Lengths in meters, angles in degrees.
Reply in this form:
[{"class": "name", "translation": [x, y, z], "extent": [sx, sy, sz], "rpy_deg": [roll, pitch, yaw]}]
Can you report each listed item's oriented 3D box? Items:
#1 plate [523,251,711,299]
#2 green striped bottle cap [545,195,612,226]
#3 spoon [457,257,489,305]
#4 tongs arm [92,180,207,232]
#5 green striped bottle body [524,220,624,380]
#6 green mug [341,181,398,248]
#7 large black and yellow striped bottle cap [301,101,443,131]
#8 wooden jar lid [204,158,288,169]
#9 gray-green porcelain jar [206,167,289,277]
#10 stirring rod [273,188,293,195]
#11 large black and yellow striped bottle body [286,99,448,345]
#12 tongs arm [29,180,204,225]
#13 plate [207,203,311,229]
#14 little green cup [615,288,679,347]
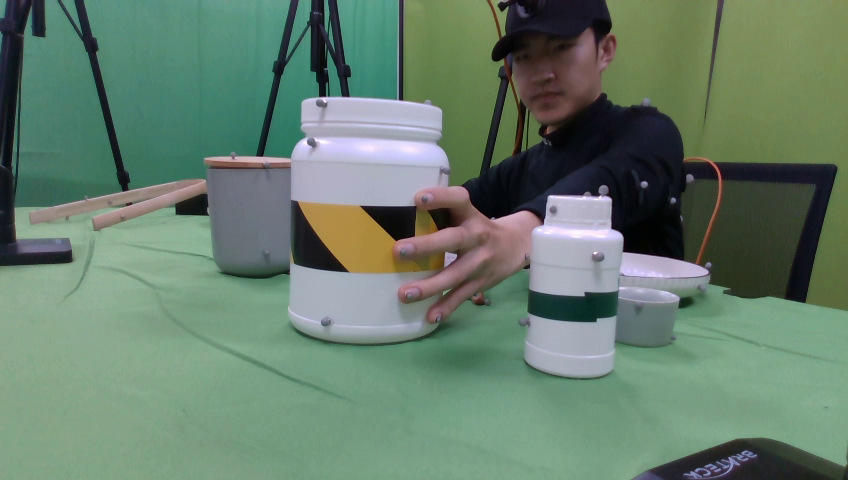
[{"class": "plate", "translation": [0.219, 0.042, 0.706], "extent": [0.209, 0.038, 0.209], "rpy_deg": [2, 7, 0]}, {"class": "green striped bottle cap", "translation": [0.106, -0.020, 0.414], "extent": [0.044, 0.020, 0.044], "rpy_deg": [2, 4, 0]}, {"class": "spoon", "translation": [0.059, 0.044, 0.696], "extent": [0.041, 0.021, 0.193], "rpy_deg": [19, 7, 0]}, {"class": "tongs arm", "translation": [-0.534, -0.076, 1.221], "extent": [0.028, 0.028, 0.388], "rpy_deg": [-2, 15, 12]}, {"class": "green striped bottle body", "translation": [0.104, 0.031, 0.422], "extent": [0.063, 0.119, 0.063], "rpy_deg": [2, 7, 0]}, {"class": "green mug", "translation": [-0.090, -0.044, 0.996], "extent": [0.093, 0.105, 0.125], "rpy_deg": [1, 7, -10]}, {"class": "large black and yellow striped bottle cap", "translation": [-0.042, -0.100, 0.491], "extent": [0.115, 0.019, 0.115], "rpy_deg": [1, 8, 0]}, {"class": "wooden jar lid", "translation": [-0.202, -0.086, 0.714], "extent": [0.108, 0.020, 0.108], "rpy_deg": [3, 11, 0]}, {"class": "gray-green porcelain jar", "translation": [-0.201, -0.024, 0.724], "extent": [0.106, 0.126, 0.106], "rpy_deg": [-1, 9, 1]}, {"class": "stirring rod", "translation": [-0.353, -0.122, 1.519], "extent": [0.006, 0.014, 0.176], "rpy_deg": [2, 7, 2]}, {"class": "large black and yellow striped bottle body", "translation": [-0.047, -0.018, 0.501], "extent": [0.131, 0.184, 0.130], "rpy_deg": [2, 7, 0]}, {"class": "tongs arm", "translation": [-0.609, -0.083, 1.245], "extent": [0.050, 0.026, 0.386], "rpy_deg": [5, 16, 23]}, {"class": "plate", "translation": [-0.342, -0.050, 1.259], "extent": [0.208, 0.039, 0.207], "rpy_deg": [3, 7, 0]}, {"class": "little green cup", "translation": [0.180, 0.064, 0.506], "extent": [0.061, 0.038, 0.061], "rpy_deg": [1, 8, 0]}]
